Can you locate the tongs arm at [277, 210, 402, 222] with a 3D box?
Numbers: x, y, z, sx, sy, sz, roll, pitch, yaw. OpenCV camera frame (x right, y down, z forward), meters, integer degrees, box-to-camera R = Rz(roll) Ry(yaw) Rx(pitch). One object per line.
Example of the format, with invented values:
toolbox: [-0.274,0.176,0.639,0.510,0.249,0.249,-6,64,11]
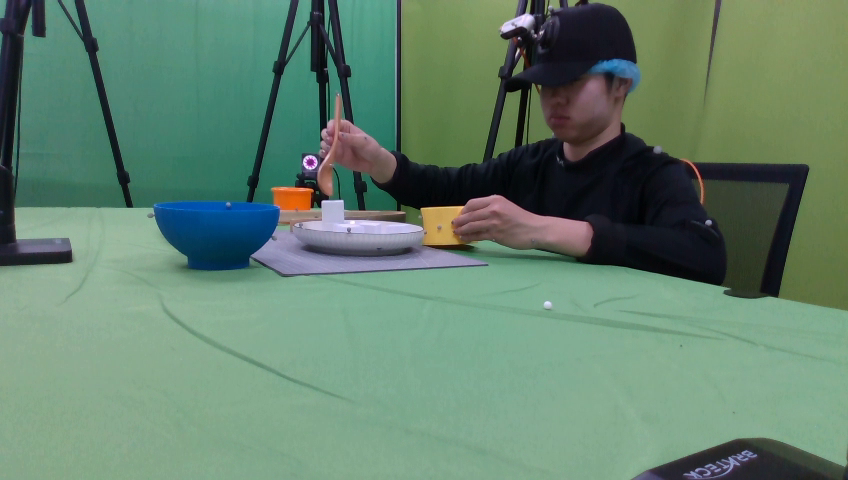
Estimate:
tongs arm: [-0.207,-0.051,1.333,0.387,0.026,0.050,-2,9,-44]

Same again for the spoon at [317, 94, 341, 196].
spoon: [-0.155,-0.163,1.022,0.021,0.193,0.042,-3,-23,27]

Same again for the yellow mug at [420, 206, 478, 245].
yellow mug: [0.051,-0.026,1.041,0.100,0.064,0.130,-4,4,-30]

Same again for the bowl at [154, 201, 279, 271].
bowl: [-0.263,-0.005,0.773,0.151,0.077,0.151,3,8,0]

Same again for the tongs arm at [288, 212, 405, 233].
tongs arm: [-0.146,-0.039,1.281,0.028,0.028,0.389,4,6,32]

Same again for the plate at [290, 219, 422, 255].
plate: [-0.107,-0.005,0.963,0.208,0.039,0.207,3,7,0]
